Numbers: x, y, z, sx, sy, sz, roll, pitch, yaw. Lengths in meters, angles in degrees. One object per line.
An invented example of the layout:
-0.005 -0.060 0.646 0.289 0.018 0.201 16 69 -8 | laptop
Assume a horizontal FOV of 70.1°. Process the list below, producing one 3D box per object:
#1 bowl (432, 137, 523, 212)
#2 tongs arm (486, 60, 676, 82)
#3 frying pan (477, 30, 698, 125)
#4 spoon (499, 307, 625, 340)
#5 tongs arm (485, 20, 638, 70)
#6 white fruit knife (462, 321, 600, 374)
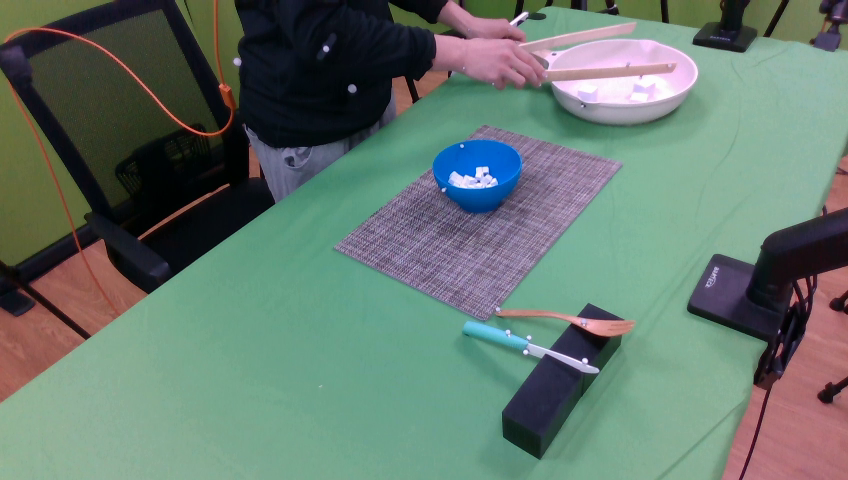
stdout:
0.091 -0.100 1.022 0.151 0.077 0.150 -4 41 4 | bowl
0.300 -0.322 1.126 0.387 0.026 0.050 -10 59 -19 | tongs arm
0.321 -0.371 1.290 0.484 0.103 0.308 29 51 24 | frying pan
0.169 0.102 0.773 0.042 0.021 0.192 -6 11 -38 | spoon
0.272 -0.381 1.163 0.389 0.028 0.028 -20 66 -25 | tongs arm
0.126 0.132 0.752 0.205 0.027 0.016 12 48 42 | white fruit knife
